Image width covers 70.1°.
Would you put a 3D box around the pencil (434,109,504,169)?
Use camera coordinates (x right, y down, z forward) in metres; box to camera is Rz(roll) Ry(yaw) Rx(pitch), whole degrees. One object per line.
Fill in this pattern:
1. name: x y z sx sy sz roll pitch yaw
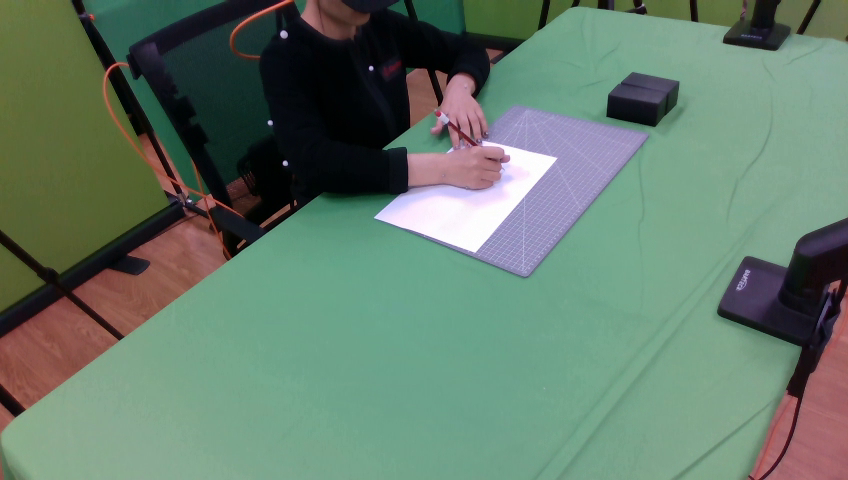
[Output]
1. pencil: 0.083 -0.173 1.058 0.012 0.196 0.012 -26 49 34
